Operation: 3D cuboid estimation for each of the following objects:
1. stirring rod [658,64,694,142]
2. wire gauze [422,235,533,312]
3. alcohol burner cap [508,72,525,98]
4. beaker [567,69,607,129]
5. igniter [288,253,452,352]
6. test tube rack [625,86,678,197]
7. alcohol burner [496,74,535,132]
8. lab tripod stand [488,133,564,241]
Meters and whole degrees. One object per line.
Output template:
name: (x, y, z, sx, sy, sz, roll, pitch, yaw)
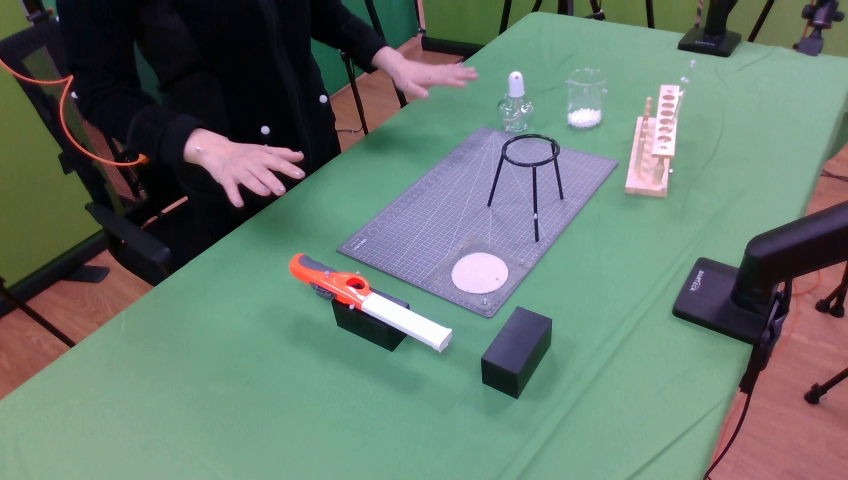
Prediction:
stirring rod: (0.409, -0.213, 1.000, 0.006, 0.176, 0.014, 37, 57, 25)
wire gauze: (0.081, 0.049, 0.914, 0.120, 0.011, 0.125, 26, 52, 32)
alcohol burner cap: (0.181, -0.306, 1.186, 0.034, 0.048, 0.033, -7, 38, 6)
beaker: (0.322, -0.280, 1.202, 0.073, 0.101, 0.084, 11, 43, 20)
igniter: (-0.083, 0.079, 0.818, 0.274, 0.025, 0.057, 23, 46, 27)
test tube rack: (0.411, -0.184, 1.088, 0.066, 0.085, 0.242, 9, 43, 18)
alcohol burner: (0.183, -0.278, 1.209, 0.078, 0.119, 0.077, -3, 42, 4)
lab tripod stand: (0.168, -0.093, 0.972, 0.148, 0.132, 0.147, -5, 41, 5)
